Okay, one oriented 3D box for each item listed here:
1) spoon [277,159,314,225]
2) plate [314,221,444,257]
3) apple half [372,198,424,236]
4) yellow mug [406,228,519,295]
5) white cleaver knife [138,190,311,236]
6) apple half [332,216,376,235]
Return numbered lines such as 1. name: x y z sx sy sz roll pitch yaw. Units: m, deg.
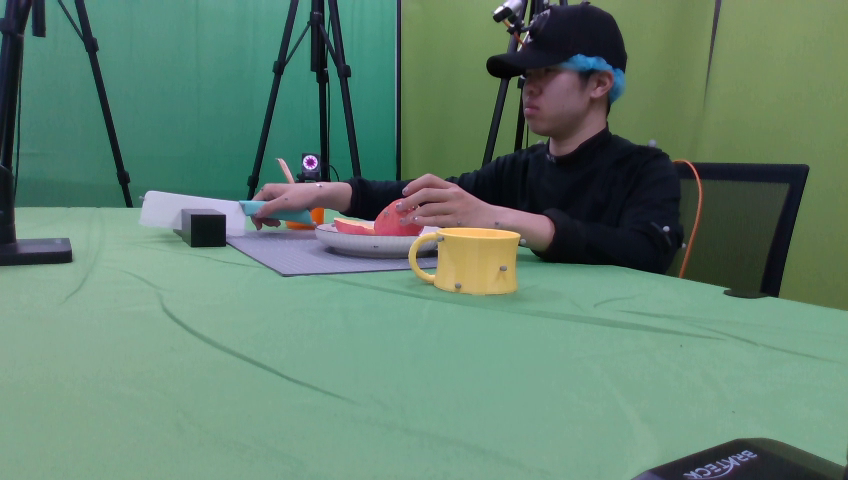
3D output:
1. spoon: -0.272 -0.103 1.260 0.042 0.193 0.021 -4 -34 -33
2. plate: -0.067 -0.002 0.948 0.209 0.038 0.209 3 7 0
3. apple half: -0.035 -0.022 0.928 0.074 0.053 0.081 -37 -16 10
4. yellow mug: 0.044 0.022 0.706 0.131 0.064 0.100 2 7 5
5. white cleaver knife: -0.333 -0.041 1.041 0.288 0.066 0.021 4 6 -30
6. apple half: -0.110 -0.012 0.972 0.081 0.033 0.081 16 7 -2
